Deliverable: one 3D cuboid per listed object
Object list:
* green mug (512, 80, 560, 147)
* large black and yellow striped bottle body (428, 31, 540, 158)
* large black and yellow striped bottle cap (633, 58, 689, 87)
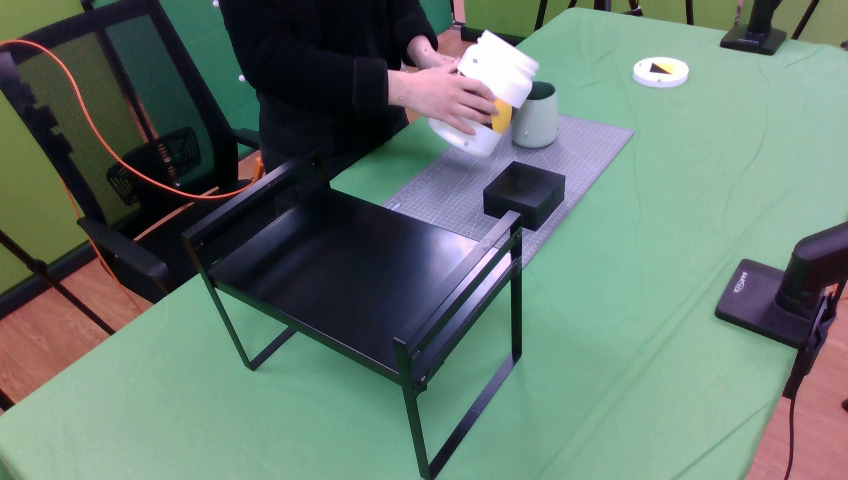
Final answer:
[{"bbox_3d":[0.217,-0.251,1.168,0.092,0.105,0.125,1,41,11],"label":"green mug"},{"bbox_3d":[0.105,-0.251,1.047,0.131,0.184,0.130,29,19,-11],"label":"large black and yellow striped bottle body"},{"bbox_3d":[0.521,-0.370,1.332,0.115,0.019,0.114,-3,41,4],"label":"large black and yellow striped bottle cap"}]
